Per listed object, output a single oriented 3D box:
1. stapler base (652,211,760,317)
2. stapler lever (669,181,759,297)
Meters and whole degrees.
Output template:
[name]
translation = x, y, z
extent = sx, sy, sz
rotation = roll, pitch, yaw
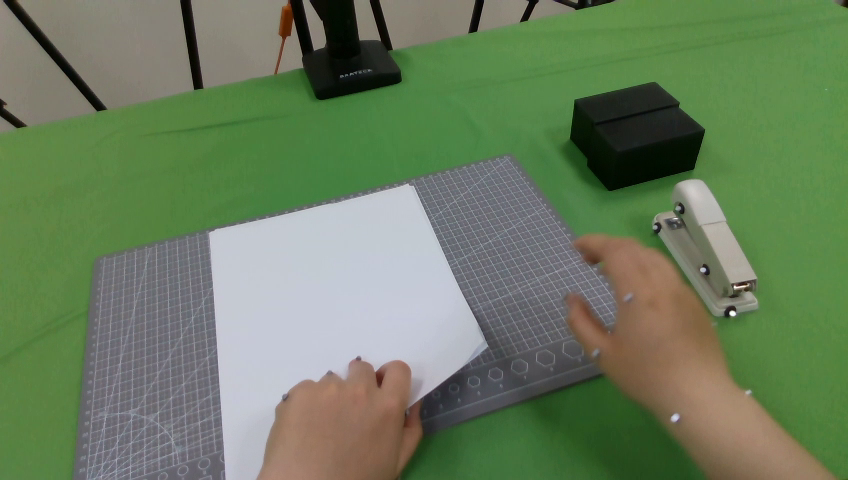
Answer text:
[stapler base]
translation = 0.251, 0.012, 0.545
extent = 0.041, 0.025, 0.129
rotation = -12, 45, -3
[stapler lever]
translation = 0.250, -0.005, 0.527
extent = 0.027, 0.040, 0.116
rotation = -12, 45, -3
